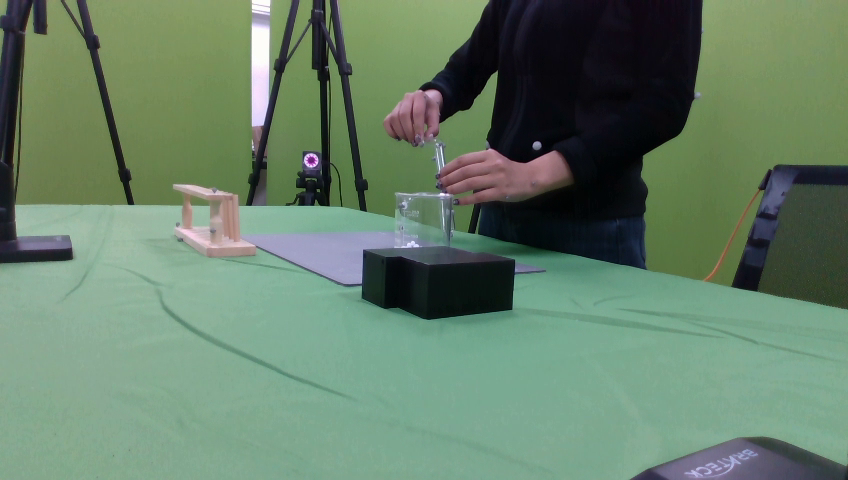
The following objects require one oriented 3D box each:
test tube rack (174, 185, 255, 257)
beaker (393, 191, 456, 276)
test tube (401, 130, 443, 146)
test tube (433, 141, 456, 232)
[{"bbox_3d":[-0.324,-0.035,0.922,0.067,0.085,0.241,-2,9,-31],"label":"test tube rack"},{"bbox_3d":[-0.003,-0.010,0.749,0.074,0.100,0.083,-3,8,-40],"label":"beaker"},{"bbox_3d":[-0.006,-0.168,0.996,0.017,0.017,0.150,-1,13,-24],"label":"test tube"},{"bbox_3d":[0.031,-0.081,0.905,0.017,0.150,0.017,-6,-22,-2],"label":"test tube"}]
